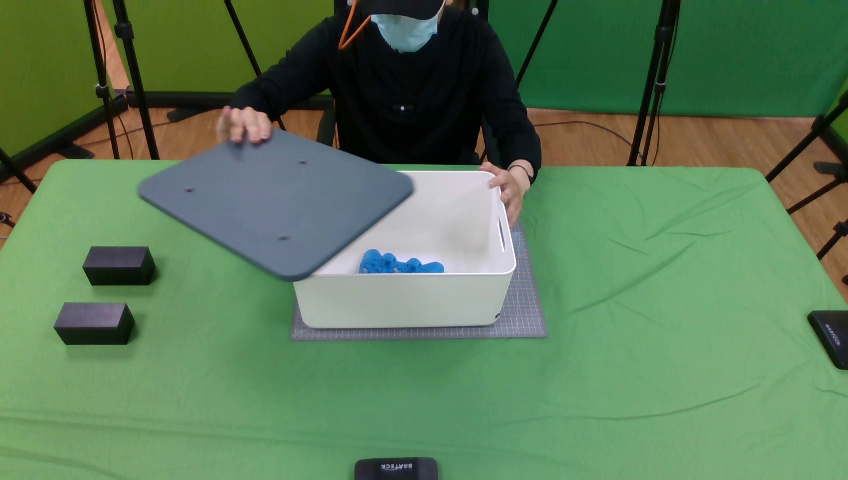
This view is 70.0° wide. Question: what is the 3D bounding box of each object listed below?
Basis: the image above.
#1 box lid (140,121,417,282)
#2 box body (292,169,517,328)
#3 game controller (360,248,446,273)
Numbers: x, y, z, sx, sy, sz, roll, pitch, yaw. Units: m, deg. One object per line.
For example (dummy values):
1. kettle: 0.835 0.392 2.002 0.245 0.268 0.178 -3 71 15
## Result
1. box lid: -0.220 -0.076 0.904 0.369 0.015 0.263 25 48 31
2. box body: -0.040 0.015 1.075 0.364 0.161 0.252 -1 47 -5
3. game controller: -0.043 0.055 1.107 0.155 0.052 0.096 11 51 8
